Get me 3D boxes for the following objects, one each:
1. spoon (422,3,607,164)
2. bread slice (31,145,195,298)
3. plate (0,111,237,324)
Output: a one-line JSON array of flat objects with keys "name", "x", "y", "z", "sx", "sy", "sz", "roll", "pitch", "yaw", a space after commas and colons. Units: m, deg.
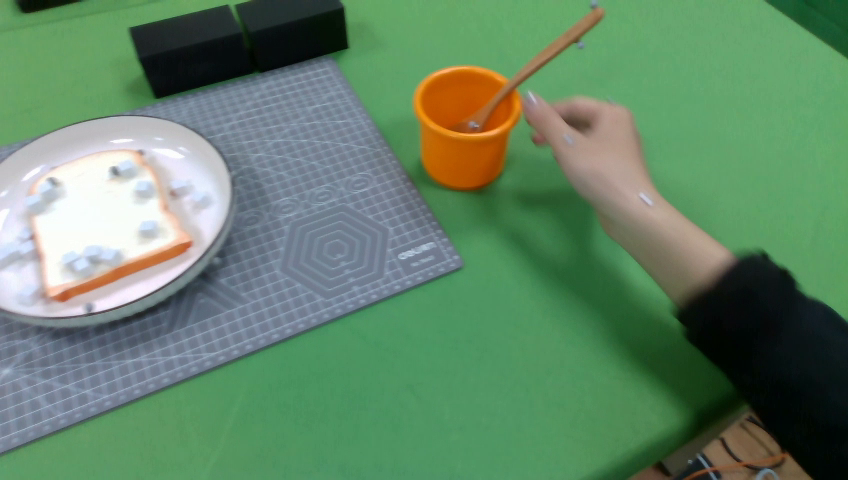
[{"name": "spoon", "x": 0.073, "y": -0.130, "z": 0.515, "sx": 0.022, "sy": 0.194, "sz": 0.041, "roll": 17, "pitch": 42, "yaw": -48}, {"name": "bread slice", "x": -0.261, "y": -0.022, "z": 0.494, "sx": 0.107, "sy": 0.018, "sz": 0.133, "roll": -28, "pitch": 61, "yaw": -19}, {"name": "plate", "x": -0.256, "y": -0.021, "z": 0.490, "sx": 0.209, "sy": 0.038, "sz": 0.207, "roll": 1, "pitch": 55, "yaw": -1}]
